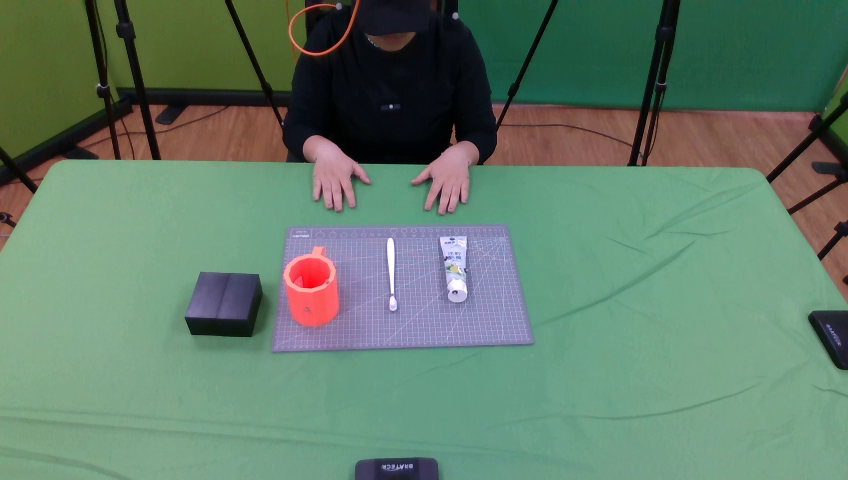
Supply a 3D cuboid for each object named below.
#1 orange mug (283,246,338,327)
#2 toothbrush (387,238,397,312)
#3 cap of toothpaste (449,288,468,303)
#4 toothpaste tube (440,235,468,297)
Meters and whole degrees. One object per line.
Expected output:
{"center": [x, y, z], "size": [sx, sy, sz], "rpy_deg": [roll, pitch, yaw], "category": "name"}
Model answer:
{"center": [-0.193, 0.074, 1.056], "size": [0.083, 0.101, 0.125], "rpy_deg": [5, 50, 1], "category": "orange mug"}
{"center": [-0.061, 0.059, 1.136], "size": [0.014, 0.017, 0.180], "rpy_deg": [-10, 45, 5], "category": "toothbrush"}
{"center": [0.062, 0.099, 1.093], "size": [0.037, 0.037, 0.011], "rpy_deg": [1, 42, -2], "category": "cap of toothpaste"}
{"center": [0.062, 0.046, 1.150], "size": [0.055, 0.035, 0.164], "rpy_deg": [3, 43, -6], "category": "toothpaste tube"}
